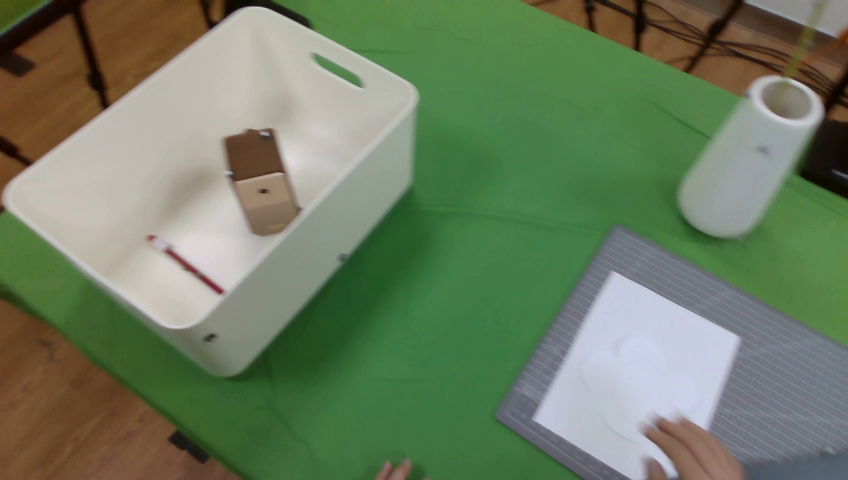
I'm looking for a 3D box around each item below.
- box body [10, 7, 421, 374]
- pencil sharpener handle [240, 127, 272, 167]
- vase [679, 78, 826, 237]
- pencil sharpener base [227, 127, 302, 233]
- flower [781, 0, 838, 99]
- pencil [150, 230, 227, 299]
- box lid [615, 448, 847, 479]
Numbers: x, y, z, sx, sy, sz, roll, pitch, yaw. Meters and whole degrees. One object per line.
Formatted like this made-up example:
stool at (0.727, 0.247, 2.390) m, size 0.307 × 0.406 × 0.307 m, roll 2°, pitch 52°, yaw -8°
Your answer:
box body at (-0.201, -0.062, 0.685) m, size 0.253 × 0.161 × 0.363 m, roll 31°, pitch 62°, yaw 17°
pencil sharpener handle at (-0.200, -0.118, 0.731) m, size 0.036 × 0.068 × 0.030 m, roll -16°, pitch 59°, yaw -6°
vase at (0.372, -0.089, 0.699) m, size 0.098 × 0.201 × 0.097 m, roll 1°, pitch 57°, yaw 0°
pencil sharpener base at (-0.187, -0.070, 0.715) m, size 0.061 × 0.108 × 0.076 m, roll -14°, pitch 58°, yaw -9°
flower at (0.375, -0.146, 0.635) m, size 0.044 × 0.364 × 0.038 m, roll 24°, pitch 43°, yaw 17°
pencil at (-0.251, 0.046, 0.699) m, size 0.193 × 0.012 × 0.012 m, roll 37°, pitch 64°, yaw 16°
box lid at (0.337, 0.335, 0.546) m, size 0.372 × 0.015 × 0.260 m, roll -6°, pitch 60°, yaw -5°
